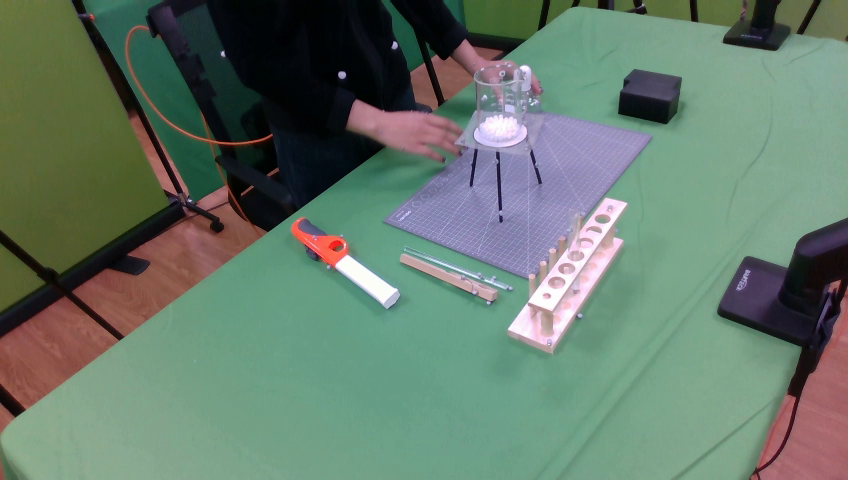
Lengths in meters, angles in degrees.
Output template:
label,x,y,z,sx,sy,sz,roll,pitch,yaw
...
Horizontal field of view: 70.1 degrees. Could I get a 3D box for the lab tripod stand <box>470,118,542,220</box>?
label,x,y,z,sx,sy,sz,roll,pitch,yaw
lab tripod stand,0.135,-0.128,1.019,0.148,0.132,0.147,-5,38,5

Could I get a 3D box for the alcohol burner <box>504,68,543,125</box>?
label,x,y,z,sx,sy,sz,roll,pitch,yaw
alcohol burner,0.201,-0.293,1.216,0.078,0.119,0.077,-4,41,4

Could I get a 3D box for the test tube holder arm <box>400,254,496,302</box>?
label,x,y,z,sx,sy,sz,roll,pitch,yaw
test tube holder arm,0.033,0.054,0.915,0.177,0.015,0.013,21,17,33

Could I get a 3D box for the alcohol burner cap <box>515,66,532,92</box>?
label,x,y,z,sx,sy,sz,roll,pitch,yaw
alcohol burner cap,0.198,-0.320,1.192,0.034,0.048,0.033,0,47,1

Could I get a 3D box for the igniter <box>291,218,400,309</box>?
label,x,y,z,sx,sy,sz,roll,pitch,yaw
igniter,-0.136,0.031,0.970,0.057,0.025,0.274,-41,49,-19

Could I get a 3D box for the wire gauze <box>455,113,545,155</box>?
label,x,y,z,sx,sy,sz,roll,pitch,yaw
wire gauze,0.124,-0.175,0.973,0.124,0.011,0.121,8,39,21

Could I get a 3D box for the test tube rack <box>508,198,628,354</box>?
label,x,y,z,sx,sy,sz,roll,pitch,yaw
test tube rack,0.206,0.039,0.850,0.066,0.085,0.243,20,48,31

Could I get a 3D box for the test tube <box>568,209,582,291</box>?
label,x,y,z,sx,sy,sz,roll,pitch,yaw
test tube,0.200,0.017,0.799,0.017,0.151,0.017,-8,45,8

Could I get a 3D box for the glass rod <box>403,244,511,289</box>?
label,x,y,z,sx,sy,sz,roll,pitch,yaw
glass rod,0.047,0.039,0.938,0.198,0.008,0.008,21,49,30

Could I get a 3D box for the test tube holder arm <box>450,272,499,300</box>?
label,x,y,z,sx,sy,sz,roll,pitch,yaw
test tube holder arm,0.071,0.068,0.895,0.087,0.015,0.010,21,17,33

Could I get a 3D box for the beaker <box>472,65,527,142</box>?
label,x,y,z,sx,sy,sz,roll,pitch,yaw
beaker,0.120,-0.211,0.942,0.083,0.101,0.074,10,42,21
